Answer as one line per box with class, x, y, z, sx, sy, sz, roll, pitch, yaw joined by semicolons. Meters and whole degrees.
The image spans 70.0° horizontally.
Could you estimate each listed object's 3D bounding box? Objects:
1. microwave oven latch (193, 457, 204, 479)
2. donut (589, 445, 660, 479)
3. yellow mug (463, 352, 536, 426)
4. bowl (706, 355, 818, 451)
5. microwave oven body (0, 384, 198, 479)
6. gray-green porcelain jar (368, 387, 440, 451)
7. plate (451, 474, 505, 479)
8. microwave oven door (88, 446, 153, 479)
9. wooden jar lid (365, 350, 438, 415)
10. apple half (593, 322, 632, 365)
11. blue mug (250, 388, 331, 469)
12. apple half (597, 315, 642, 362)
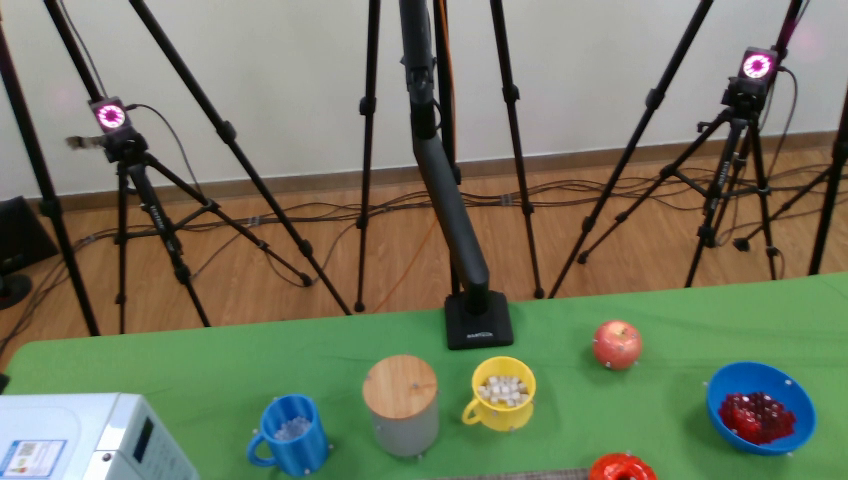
microwave oven latch;-0.348;0.362;0.891;0.030;0.030;0.078;-1;46;4
donut;0.287;0.343;0.871;0.099;0.049;0.098;-2;46;2
yellow mug;0.116;0.247;0.972;0.131;0.064;0.099;-28;49;-20
bowl;0.499;0.259;0.917;0.151;0.077;0.150;-3;45;3
microwave oven body;-0.505;0.424;0.705;0.326;0.263;0.437;-2;46;3
gray-green porcelain jar;-0.029;0.255;0.933;0.106;0.128;0.105;-2;45;3
plate;0.074;0.423;0.815;0.207;0.039;0.205;-2;45;3
microwave oven door;-0.361;0.445;0.665;0.039;0.246;0.352;-2;45;3
wooden jar lid;-0.033;0.211;0.889;0.108;0.021;0.107;-3;43;3
apple half;0.307;0.181;1.013;0.033;0.082;0.080;-26;48;-26
blue mug;-0.206;0.296;0.923;0.117;0.107;0.081;-23;47;-17
apple half;0.337;0.164;1.029;0.053;0.075;0.080;-25;44;-26
